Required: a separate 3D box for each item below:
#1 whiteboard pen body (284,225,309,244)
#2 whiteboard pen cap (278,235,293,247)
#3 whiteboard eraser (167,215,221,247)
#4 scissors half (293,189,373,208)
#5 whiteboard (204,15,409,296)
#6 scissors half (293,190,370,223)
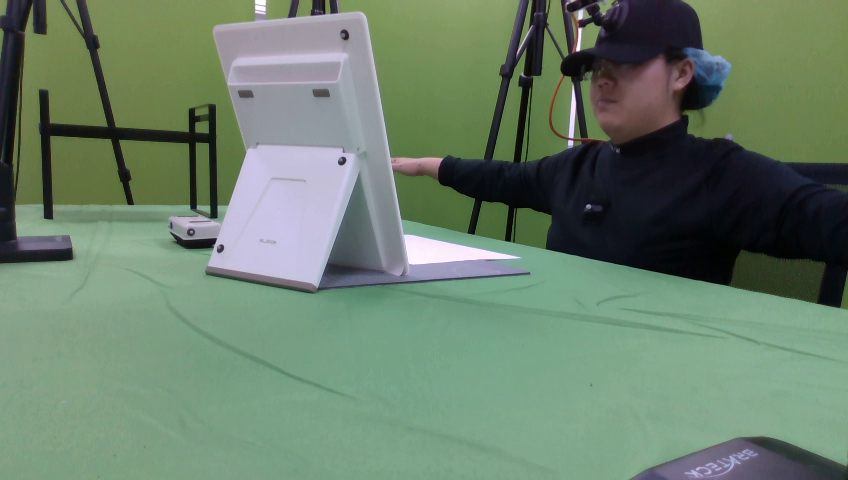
[{"bbox_3d":[-0.208,-0.008,0.985,0.017,0.017,0.141,3,9,1],"label":"whiteboard pen body"},{"bbox_3d":[-0.211,0.001,0.928,0.018,0.018,0.033,3,6,1],"label":"whiteboard pen cap"},{"bbox_3d":[-0.350,-0.014,0.920,0.056,0.042,0.112,0,7,-35],"label":"whiteboard eraser"},{"bbox_3d":[-0.201,-0.097,1.332,0.175,0.040,0.013,5,17,-4],"label":"scissors half"},{"bbox_3d":[-0.166,-0.072,0.669,0.216,0.305,0.144,8,30,30],"label":"whiteboard"},{"bbox_3d":[-0.205,-0.078,1.337,0.175,0.040,0.013,22,10,-8],"label":"scissors half"}]
